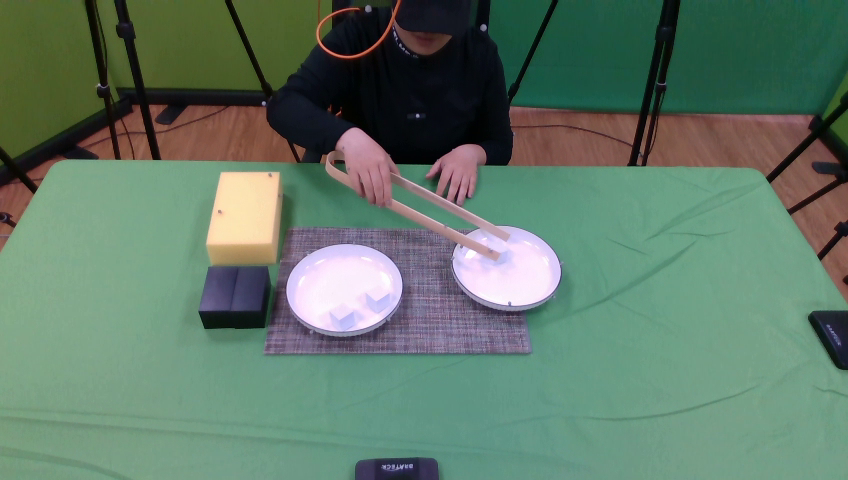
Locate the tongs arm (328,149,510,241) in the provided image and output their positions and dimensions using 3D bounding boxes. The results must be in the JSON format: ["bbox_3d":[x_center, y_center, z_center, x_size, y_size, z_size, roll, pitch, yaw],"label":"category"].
[{"bbox_3d":[-0.010,-0.088,1.182,0.387,0.028,0.028,26,53,3],"label":"tongs arm"}]

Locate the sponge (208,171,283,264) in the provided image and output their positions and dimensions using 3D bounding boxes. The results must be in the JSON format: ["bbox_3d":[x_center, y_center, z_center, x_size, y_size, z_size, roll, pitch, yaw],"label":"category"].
[{"bbox_3d":[-0.346,-0.048,1.191,0.118,0.061,0.205,-2,46,-6],"label":"sponge"}]

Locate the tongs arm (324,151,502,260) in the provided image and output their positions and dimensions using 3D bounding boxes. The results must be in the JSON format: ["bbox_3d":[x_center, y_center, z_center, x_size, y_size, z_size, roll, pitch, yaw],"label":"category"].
[{"bbox_3d":[-0.024,-0.066,1.159,0.385,0.026,0.050,26,50,3],"label":"tongs arm"}]

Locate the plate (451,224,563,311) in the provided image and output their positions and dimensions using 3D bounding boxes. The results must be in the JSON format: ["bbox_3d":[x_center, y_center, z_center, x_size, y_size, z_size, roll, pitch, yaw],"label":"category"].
[{"bbox_3d":[0.154,0.053,1.140,0.209,0.038,0.208,2,46,-2],"label":"plate"}]

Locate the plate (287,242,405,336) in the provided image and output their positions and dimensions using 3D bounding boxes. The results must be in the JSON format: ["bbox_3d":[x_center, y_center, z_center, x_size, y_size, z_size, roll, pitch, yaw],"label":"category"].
[{"bbox_3d":[-0.138,0.090,1.085,0.208,0.039,0.206,2,46,-2],"label":"plate"}]
